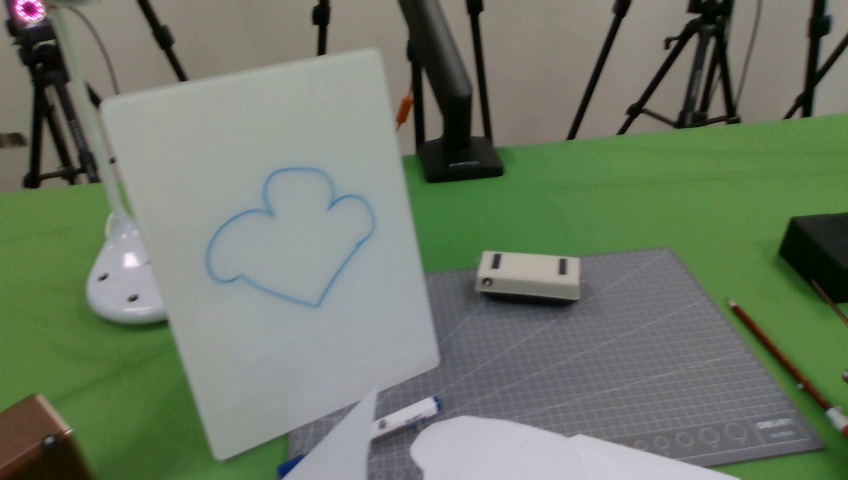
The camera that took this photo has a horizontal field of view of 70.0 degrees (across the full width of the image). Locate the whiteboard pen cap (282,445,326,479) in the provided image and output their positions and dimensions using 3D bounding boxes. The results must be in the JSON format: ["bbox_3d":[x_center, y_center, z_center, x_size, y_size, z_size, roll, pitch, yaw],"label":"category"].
[{"bbox_3d":[-0.098,0.181,0.494,0.033,0.018,0.018,-20,38,-21],"label":"whiteboard pen cap"}]

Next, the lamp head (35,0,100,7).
[{"bbox_3d":[-0.303,-0.263,0.478,0.112,0.113,0.122,-31,69,-35],"label":"lamp head"}]

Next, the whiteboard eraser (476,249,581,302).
[{"bbox_3d":[0.117,0.040,0.672,0.112,0.042,0.055,5,36,10],"label":"whiteboard eraser"}]

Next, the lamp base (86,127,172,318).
[{"bbox_3d":[-0.320,-0.030,0.676,0.178,0.182,0.160,18,39,30],"label":"lamp base"}]

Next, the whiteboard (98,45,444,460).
[{"bbox_3d":[-0.132,-0.001,0.566,0.218,0.307,0.142,-19,19,-21],"label":"whiteboard"}]

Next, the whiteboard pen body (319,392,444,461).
[{"bbox_3d":[-0.046,0.163,0.516,0.141,0.017,0.017,-19,38,-21],"label":"whiteboard pen body"}]

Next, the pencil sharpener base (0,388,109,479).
[{"bbox_3d":[-0.284,0.176,0.440,0.061,0.108,0.076,25,43,33],"label":"pencil sharpener base"}]

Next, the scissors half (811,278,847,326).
[{"bbox_3d":[0.394,0.095,0.523,0.040,0.013,0.173,7,40,-26],"label":"scissors half"}]

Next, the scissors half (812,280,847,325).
[{"bbox_3d":[0.375,0.090,0.515,0.040,0.013,0.173,24,34,-13],"label":"scissors half"}]

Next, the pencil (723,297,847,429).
[{"bbox_3d":[0.350,0.113,0.589,0.012,0.012,0.192,-8,34,-9],"label":"pencil"}]
